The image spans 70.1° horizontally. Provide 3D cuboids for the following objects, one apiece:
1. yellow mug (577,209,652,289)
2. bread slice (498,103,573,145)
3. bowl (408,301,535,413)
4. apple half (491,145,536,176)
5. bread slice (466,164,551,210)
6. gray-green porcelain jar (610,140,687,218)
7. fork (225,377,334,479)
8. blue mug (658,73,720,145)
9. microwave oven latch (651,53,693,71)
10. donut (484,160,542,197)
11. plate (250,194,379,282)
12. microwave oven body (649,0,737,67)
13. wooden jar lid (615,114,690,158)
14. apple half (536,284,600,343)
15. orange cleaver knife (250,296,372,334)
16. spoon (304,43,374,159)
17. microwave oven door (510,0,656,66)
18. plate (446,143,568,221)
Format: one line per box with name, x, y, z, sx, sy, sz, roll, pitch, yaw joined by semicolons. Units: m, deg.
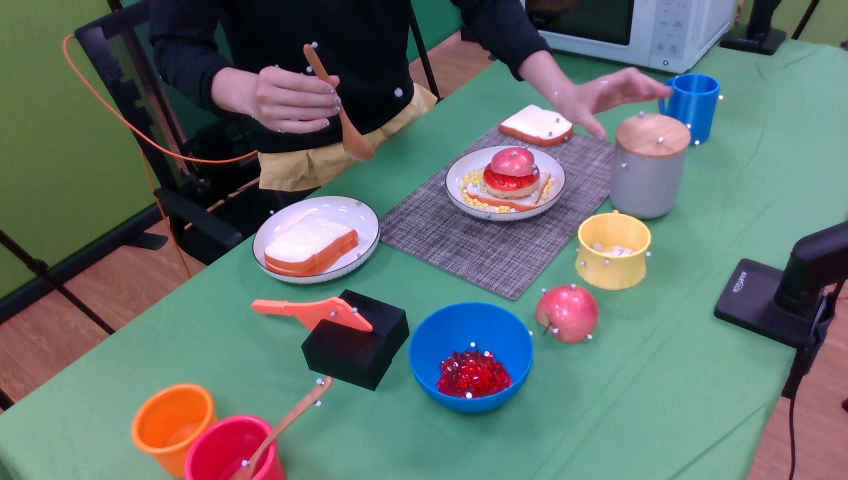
yellow mug;0.279;0.004;0.893;0.099;0.064;0.130;5;42;15
bread slice;0.230;-0.231;1.205;0.105;0.019;0.130;-36;48;-28
bowl;0.060;0.156;0.739;0.151;0.077;0.150;-4;40;4
apple half;0.147;-0.138;0.994;0.081;0.033;0.081;0;38;1
bread slice;0.141;-0.094;1.042;0.133;0.018;0.107;9;42;19
gray-green porcelain jar;0.354;-0.106;0.964;0.106;0.127;0.105;-4;41;4
fork;-0.163;0.216;0.646;0.207;0.019;0.028;-49;42;16
blue mug;0.483;-0.250;1.127;0.082;0.106;0.115;-26;44;-19
microwave oven latch;0.532;-0.386;1.301;0.078;0.029;0.030;27;52;34
donut;0.149;-0.110;1.016;0.099;0.048;0.098;-4;40;4
plate;-0.174;-0.001;0.984;0.209;0.038;0.208;-3;40;3
microwave oven body;0.475;-0.602;1.411;0.438;0.261;0.327;23;50;32
wooden jar lid;0.347;-0.155;0.923;0.108;0.021;0.108;-3;44;4
apple half;0.196;0.091;0.815;0.075;0.053;0.080;-22;42;-20
orange cleaver knife;-0.159;0.103;0.828;0.210;0.078;0.012;-4;43;39
spoon;-0.110;-0.170;0.770;0.041;0.195;0.021;-6;49;16
microwave oven door;0.350;-0.539;1.348;0.353;0.245;0.039;24;50;31
plate;0.142;-0.097;1.045;0.207;0.039;0.206;-4;40;4
